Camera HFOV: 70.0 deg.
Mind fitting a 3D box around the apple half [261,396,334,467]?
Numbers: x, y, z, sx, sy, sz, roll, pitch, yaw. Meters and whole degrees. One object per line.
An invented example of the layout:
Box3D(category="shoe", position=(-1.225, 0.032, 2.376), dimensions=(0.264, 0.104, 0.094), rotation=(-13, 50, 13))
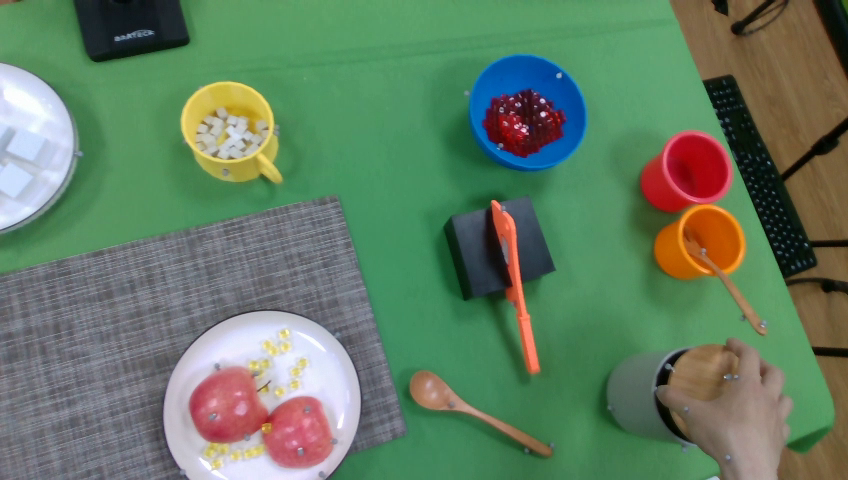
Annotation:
Box3D(category="apple half", position=(-0.139, 0.211, 0.660), dimensions=(0.081, 0.033, 0.081), rotation=(3, 74, -8))

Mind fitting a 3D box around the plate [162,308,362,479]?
Box3D(category="plate", position=(-0.175, 0.180, 0.667), dimensions=(0.210, 0.038, 0.208), rotation=(2, 78, -10))

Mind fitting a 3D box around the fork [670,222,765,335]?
Box3D(category="fork", position=(0.353, 0.040, 0.737), dimensions=(0.028, 0.019, 0.205), rotation=(0, 34, -9))

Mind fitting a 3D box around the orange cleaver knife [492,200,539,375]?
Box3D(category="orange cleaver knife", position=(0.108, 0.057, 0.725), dimensions=(0.012, 0.076, 0.212), rotation=(-14, 104, -9))

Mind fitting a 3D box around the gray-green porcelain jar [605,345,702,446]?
Box3D(category="gray-green porcelain jar", position=(0.279, 0.179, 0.705), dimensions=(0.106, 0.127, 0.105), rotation=(2, 77, -9))

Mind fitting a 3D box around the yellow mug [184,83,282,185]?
Box3D(category="yellow mug", position=(-0.214, -0.115, 0.716), dimensions=(0.131, 0.064, 0.100), rotation=(45, 74, 1))

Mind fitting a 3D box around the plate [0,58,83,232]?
Box3D(category="plate", position=(-0.492, -0.102, 0.678), dimensions=(0.208, 0.039, 0.206), rotation=(2, 77, -9))

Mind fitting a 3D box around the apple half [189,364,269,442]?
Box3D(category="apple half", position=(-0.210, 0.175, 0.646), dimensions=(0.075, 0.053, 0.080), rotation=(-18, 82, -11))

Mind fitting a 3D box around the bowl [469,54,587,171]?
Box3D(category="bowl", position=(0.123, -0.150, 0.776), dimensions=(0.152, 0.077, 0.150), rotation=(2, 77, -9))

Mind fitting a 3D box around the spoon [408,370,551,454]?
Box3D(category="spoon", position=(0.067, 0.208, 0.714), dimensions=(0.194, 0.022, 0.041), rotation=(27, 58, -3))

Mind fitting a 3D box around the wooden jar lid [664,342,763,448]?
Box3D(category="wooden jar lid", position=(0.302, 0.162, 0.637), dimensions=(0.108, 0.021, 0.108), rotation=(1, 79, -7))
